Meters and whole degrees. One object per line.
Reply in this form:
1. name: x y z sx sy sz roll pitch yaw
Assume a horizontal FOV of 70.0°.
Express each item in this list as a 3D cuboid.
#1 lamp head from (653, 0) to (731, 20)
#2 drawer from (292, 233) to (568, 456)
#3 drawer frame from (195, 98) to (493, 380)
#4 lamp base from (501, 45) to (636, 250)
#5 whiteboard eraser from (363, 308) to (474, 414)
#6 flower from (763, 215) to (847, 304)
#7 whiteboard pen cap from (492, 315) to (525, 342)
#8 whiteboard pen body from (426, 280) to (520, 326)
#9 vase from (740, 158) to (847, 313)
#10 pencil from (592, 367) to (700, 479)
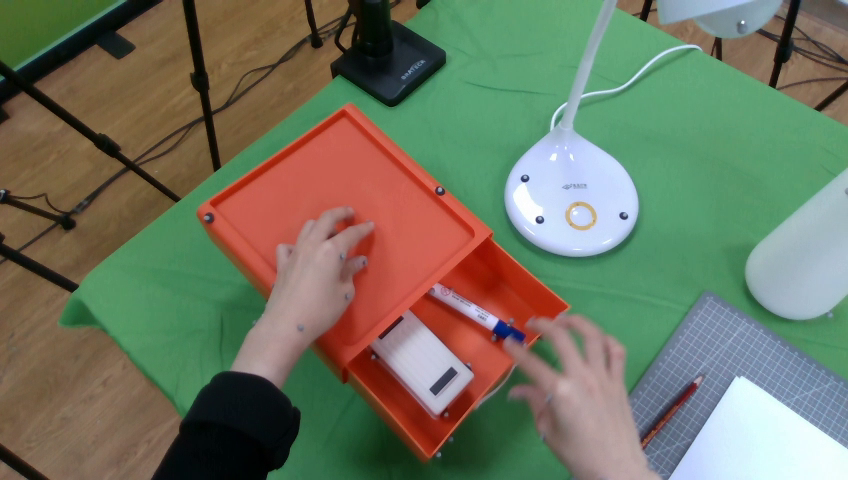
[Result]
1. lamp head: 0.198 -0.219 0.401 0.112 0.112 0.123 -20 101 -11
2. drawer: -0.004 0.064 0.592 0.210 0.073 0.194 42 69 13
3. drawer frame: -0.078 -0.006 0.612 0.201 0.083 0.212 -42 76 -20
4. lamp base: 0.169 -0.107 0.670 0.161 0.182 0.177 -13 58 -7
5. whiteboard eraser: -0.009 0.114 0.594 0.055 0.042 0.111 -41 62 -20
6. flower: 0.412 -0.053 0.533 0.038 0.364 0.044 25 45 6
7. whiteboard pen cap: 0.084 0.089 0.614 0.033 0.018 0.018 30 65 17
8. whiteboard pen body: 0.034 0.059 0.622 0.141 0.017 0.017 25 63 2
9. vase: 0.396 -0.005 0.601 0.098 0.201 0.097 -1 59 1
10. pencil: 0.217 0.189 0.599 0.194 0.012 0.012 -38 66 -20
